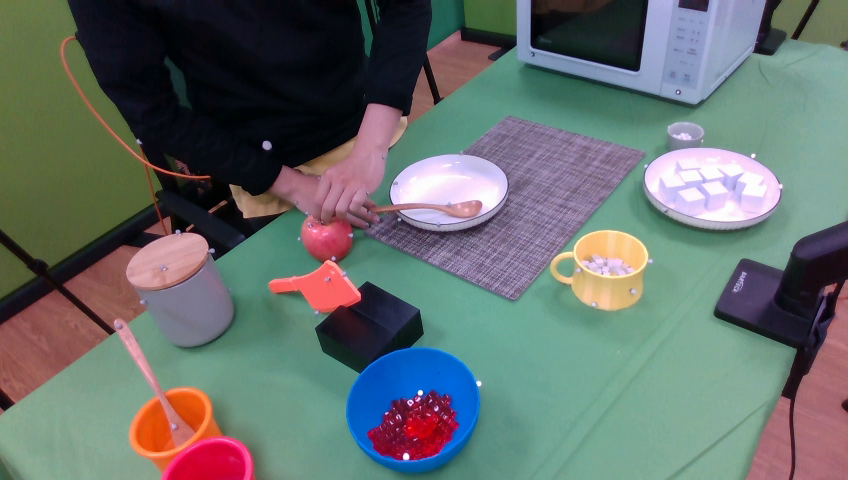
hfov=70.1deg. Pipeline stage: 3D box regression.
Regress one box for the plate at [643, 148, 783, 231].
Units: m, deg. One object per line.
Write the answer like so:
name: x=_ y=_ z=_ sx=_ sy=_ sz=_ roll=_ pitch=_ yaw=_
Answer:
plate: x=0.464 y=-0.079 z=0.986 sx=0.207 sy=0.039 sz=0.206 roll=-4 pitch=41 yaw=4

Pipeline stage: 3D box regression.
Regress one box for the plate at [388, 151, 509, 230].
plate: x=0.043 y=-0.082 z=1.042 sx=0.209 sy=0.038 sz=0.208 roll=-4 pitch=40 yaw=4

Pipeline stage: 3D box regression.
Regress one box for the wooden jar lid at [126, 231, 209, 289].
wooden jar lid: x=-0.340 y=0.030 z=0.808 sx=0.108 sy=0.021 sz=0.108 roll=-5 pitch=39 yaw=5

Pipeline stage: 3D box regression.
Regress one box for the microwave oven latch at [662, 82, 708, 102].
microwave oven latch: x=0.517 y=-0.298 z=1.203 sx=0.078 sy=0.029 sz=0.030 roll=28 pitch=53 yaw=35

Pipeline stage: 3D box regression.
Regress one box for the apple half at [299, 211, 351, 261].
apple half: x=-0.153 y=0.000 z=0.954 sx=0.081 sy=0.075 sz=0.053 roll=-12 pitch=44 yaw=-8

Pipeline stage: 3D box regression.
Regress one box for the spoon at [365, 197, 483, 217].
spoon: x=0.001 y=-0.056 z=0.998 sx=0.194 sy=0.021 sz=0.041 roll=1 pitch=57 yaw=-10

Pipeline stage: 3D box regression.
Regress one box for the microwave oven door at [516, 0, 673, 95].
microwave oven door: x=0.344 y=-0.458 z=1.256 sx=0.353 sy=0.245 sz=0.039 roll=26 pitch=51 yaw=33

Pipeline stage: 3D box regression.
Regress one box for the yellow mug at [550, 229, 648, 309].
yellow mug: x=0.245 y=0.040 z=0.857 sx=0.130 sy=0.064 sz=0.099 roll=1 pitch=42 yaw=11

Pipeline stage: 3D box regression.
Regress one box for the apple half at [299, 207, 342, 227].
apple half: x=-0.163 y=-0.024 z=0.981 sx=0.081 sy=0.081 sz=0.032 roll=-13 pitch=43 yaw=-7

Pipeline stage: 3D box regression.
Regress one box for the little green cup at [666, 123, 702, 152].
little green cup: x=0.472 y=-0.183 z=1.102 sx=0.061 sy=0.039 sz=0.061 roll=-5 pitch=41 yaw=5

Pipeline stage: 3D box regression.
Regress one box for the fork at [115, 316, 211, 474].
fork: x=-0.308 y=0.179 z=0.708 sx=0.028 sy=0.018 sz=0.207 roll=-30 pitch=89 yaw=-17

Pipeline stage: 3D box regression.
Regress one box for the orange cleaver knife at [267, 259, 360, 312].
orange cleaver knife: x=-0.161 y=0.070 z=0.859 sx=0.210 sy=0.077 sz=0.012 roll=-13 pitch=22 yaw=49

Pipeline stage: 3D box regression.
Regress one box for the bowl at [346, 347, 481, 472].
bowl: x=-0.008 y=0.205 z=0.691 sx=0.151 sy=0.077 sz=0.150 roll=-4 pitch=40 yaw=4

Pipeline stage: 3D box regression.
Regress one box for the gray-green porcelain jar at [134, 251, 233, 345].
gray-green porcelain jar: x=-0.334 y=0.076 z=0.849 sx=0.106 sy=0.127 sz=0.105 roll=-4 pitch=41 yaw=4

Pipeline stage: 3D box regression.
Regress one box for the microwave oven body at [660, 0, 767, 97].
microwave oven body: x=0.473 y=-0.517 z=1.313 sx=0.438 sy=0.261 sz=0.327 roll=26 pitch=51 yaw=34
